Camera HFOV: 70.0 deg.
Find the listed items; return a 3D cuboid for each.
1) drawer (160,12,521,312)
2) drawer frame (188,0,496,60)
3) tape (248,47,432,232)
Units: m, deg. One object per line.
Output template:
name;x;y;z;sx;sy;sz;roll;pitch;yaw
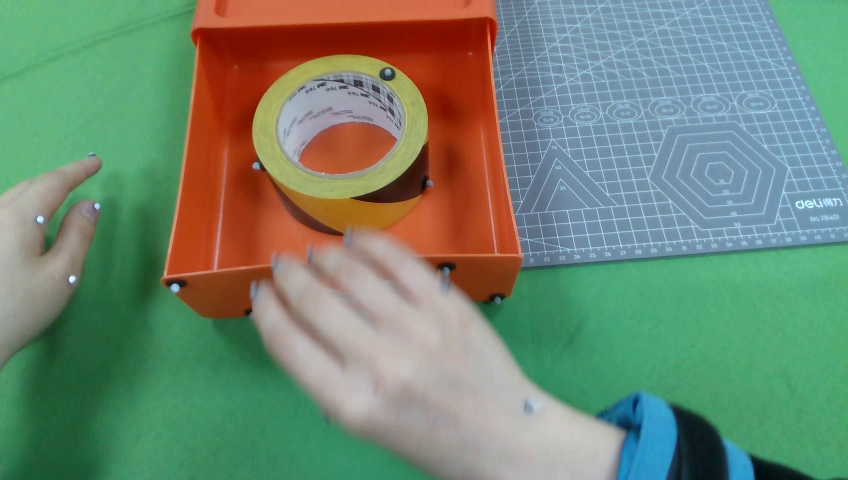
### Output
drawer;-0.049;-0.064;0.393;0.194;0.074;0.210;-4;64;0
drawer frame;-0.056;-0.215;0.464;0.202;0.083;0.211;-3;63;0
tape;-0.052;-0.066;0.401;0.117;0.053;0.116;0;66;1
